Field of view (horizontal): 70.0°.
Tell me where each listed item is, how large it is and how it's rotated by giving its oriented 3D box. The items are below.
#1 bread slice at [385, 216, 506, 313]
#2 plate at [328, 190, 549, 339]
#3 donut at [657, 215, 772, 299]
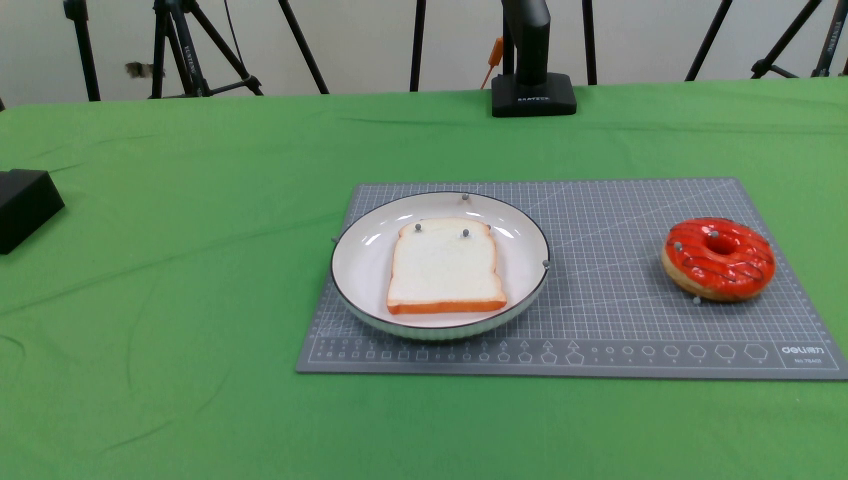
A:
[{"bbox_3d":[0.017,0.021,0.588,0.107,0.018,0.133,-3,38,-1],"label":"bread slice"},{"bbox_3d":[0.014,0.023,0.584,0.209,0.038,0.207,-2,37,2],"label":"plate"},{"bbox_3d":[0.268,0.016,0.561,0.099,0.048,0.098,-1,39,2],"label":"donut"}]
